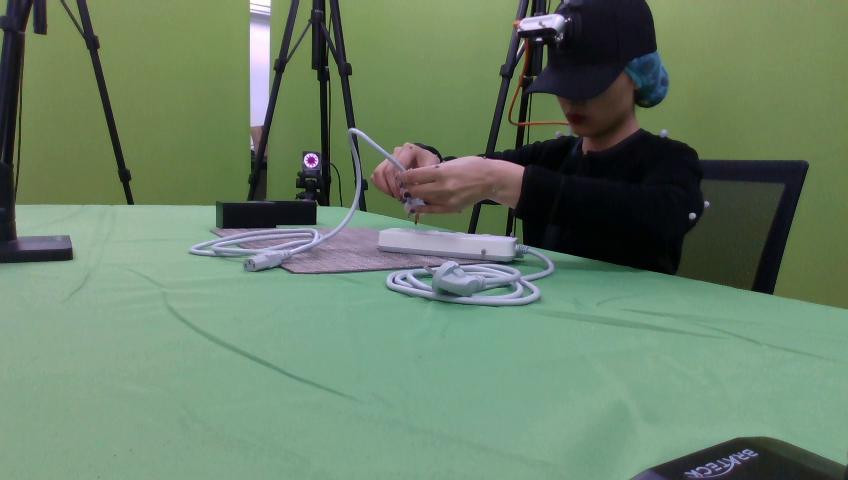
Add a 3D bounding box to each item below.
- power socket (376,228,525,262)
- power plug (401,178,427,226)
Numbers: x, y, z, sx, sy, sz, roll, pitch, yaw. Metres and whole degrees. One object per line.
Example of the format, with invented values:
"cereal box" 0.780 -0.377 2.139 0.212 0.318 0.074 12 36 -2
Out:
"power socket" 0.036 0.005 0.913 0.226 0.032 0.072 5 8 16
"power plug" -0.025 -0.055 0.903 0.035 0.052 0.073 -11 -25 35
